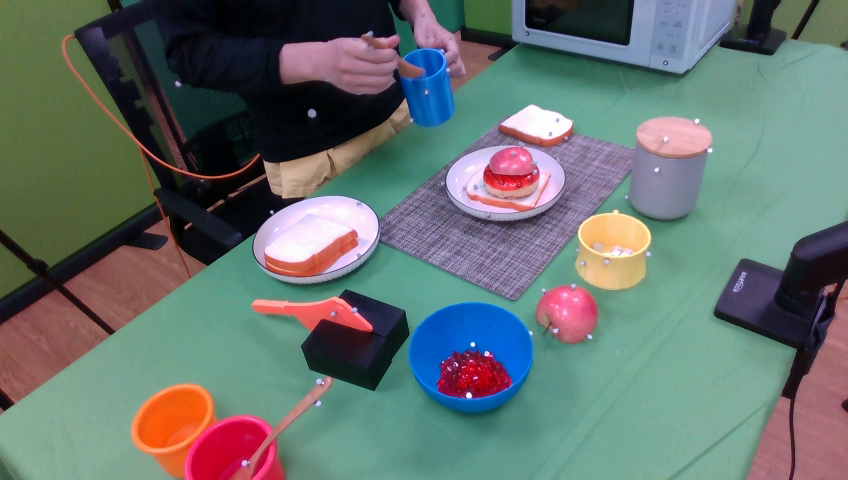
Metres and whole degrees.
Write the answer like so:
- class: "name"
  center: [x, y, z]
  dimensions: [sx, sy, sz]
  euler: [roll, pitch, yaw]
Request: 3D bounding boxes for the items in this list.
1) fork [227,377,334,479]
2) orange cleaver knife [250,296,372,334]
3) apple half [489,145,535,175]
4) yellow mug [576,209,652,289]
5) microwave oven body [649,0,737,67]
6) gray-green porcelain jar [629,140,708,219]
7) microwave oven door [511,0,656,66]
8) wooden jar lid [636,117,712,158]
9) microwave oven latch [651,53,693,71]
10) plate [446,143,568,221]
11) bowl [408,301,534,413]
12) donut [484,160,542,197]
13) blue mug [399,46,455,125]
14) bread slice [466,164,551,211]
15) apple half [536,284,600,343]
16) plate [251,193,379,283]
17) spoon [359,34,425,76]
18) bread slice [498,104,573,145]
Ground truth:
- class: "fork"
  center: [-0.162, 0.216, 0.647]
  dimensions: [0.207, 0.019, 0.028]
  euler: [-49, 41, 16]
- class: "orange cleaver knife"
  center: [-0.158, 0.103, 0.828]
  dimensions: [0.210, 0.078, 0.012]
  euler: [-4, 43, 39]
- class: "apple half"
  center: [0.145, -0.138, 0.995]
  dimensions: [0.081, 0.033, 0.081]
  euler: [-2, 34, 2]
- class: "yellow mug"
  center: [0.279, 0.004, 0.893]
  dimensions: [0.099, 0.064, 0.130]
  euler: [5, 42, 14]
- class: "microwave oven body"
  center: [0.475, -0.602, 1.411]
  dimensions: [0.438, 0.261, 0.327]
  euler: [23, 50, 32]
- class: "gray-green porcelain jar"
  center: [0.383, -0.105, 0.958]
  dimensions: [0.106, 0.127, 0.105]
  euler: [-4, 41, 4]
- class: "microwave oven door"
  center: [0.351, -0.539, 1.349]
  dimensions: [0.353, 0.245, 0.039]
  euler: [24, 50, 31]
- class: "wooden jar lid"
  center: [0.377, -0.151, 0.917]
  dimensions: [0.108, 0.021, 0.108]
  euler: [-2, 42, 3]
- class: "microwave oven latch"
  center: [0.532, -0.386, 1.301]
  dimensions: [0.078, 0.029, 0.030]
  euler: [27, 52, 34]
- class: "plate"
  center: [0.142, -0.096, 1.045]
  dimensions: [0.207, 0.039, 0.206]
  euler: [-4, 40, 4]
- class: "bowl"
  center: [0.059, 0.156, 0.739]
  dimensions: [0.151, 0.077, 0.150]
  euler: [-4, 40, 4]
- class: "donut"
  center: [0.149, -0.109, 1.016]
  dimensions: [0.099, 0.048, 0.098]
  euler: [-4, 40, 4]
- class: "blue mug"
  center: [0.014, -0.278, 1.051]
  dimensions: [0.082, 0.106, 0.116]
  euler: [20, 62, 24]
- class: "bread slice"
  center: [0.141, -0.092, 1.043]
  dimensions: [0.133, 0.018, 0.107]
  euler: [11, 44, 19]
- class: "apple half"
  center: [0.196, 0.091, 0.815]
  dimensions: [0.075, 0.053, 0.080]
  euler: [-22, 42, -20]
- class: "plate"
  center: [-0.174, -0.001, 0.984]
  dimensions: [0.209, 0.038, 0.208]
  euler: [-4, 41, 4]
- class: "spoon"
  center: [-0.048, -0.271, 0.887]
  dimensions: [0.041, 0.021, 0.195]
  euler: [-2, -4, 23]
- class: "bread slice"
  center: [0.231, -0.231, 1.205]
  dimensions: [0.105, 0.019, 0.130]
  euler: [-36, 47, -29]
